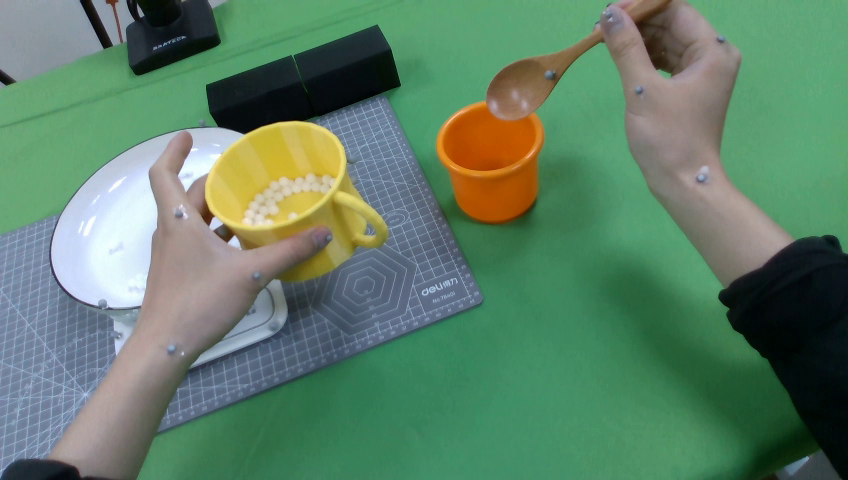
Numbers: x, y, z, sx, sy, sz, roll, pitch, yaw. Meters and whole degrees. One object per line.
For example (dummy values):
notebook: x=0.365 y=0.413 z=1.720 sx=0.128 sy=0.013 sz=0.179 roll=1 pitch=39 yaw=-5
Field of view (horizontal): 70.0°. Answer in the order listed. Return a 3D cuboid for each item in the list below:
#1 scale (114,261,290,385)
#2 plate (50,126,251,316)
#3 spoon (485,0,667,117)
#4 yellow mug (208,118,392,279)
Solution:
scale: x=-0.211 y=0.021 z=0.557 sx=0.149 sy=0.032 sz=0.198 roll=-22 pitch=53 yaw=-3
plate: x=-0.226 y=-0.019 z=0.549 sx=0.209 sy=0.038 sz=0.207 roll=-5 pitch=53 yaw=8
spoon: x=0.116 y=-0.137 z=0.408 sx=0.022 sy=0.193 sz=0.041 roll=-25 pitch=90 yaw=-44
yellow mug: x=-0.082 y=-0.027 z=0.436 sx=0.130 sy=0.064 sz=0.099 roll=15 pitch=60 yaw=20
